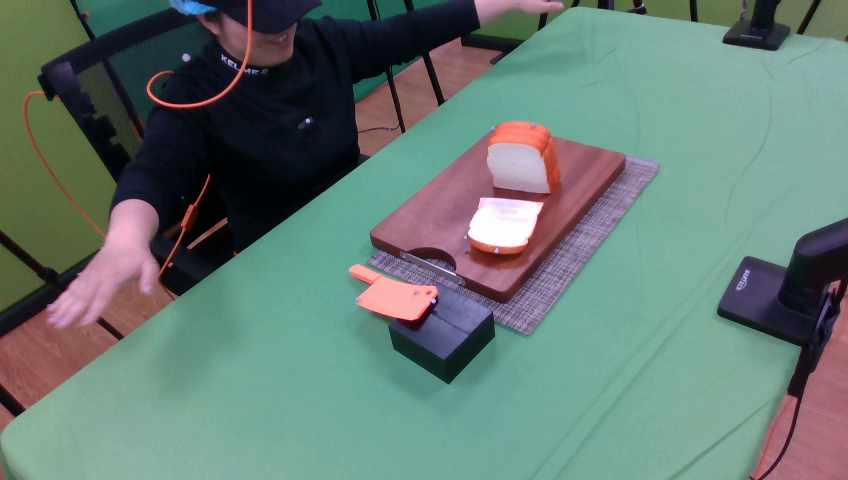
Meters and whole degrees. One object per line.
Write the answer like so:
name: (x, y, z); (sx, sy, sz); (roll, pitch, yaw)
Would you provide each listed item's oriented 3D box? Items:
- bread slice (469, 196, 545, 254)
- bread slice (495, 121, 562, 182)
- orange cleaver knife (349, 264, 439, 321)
bread slice: (0.124, -0.024, 0.943); (0.104, 0.019, 0.131); (8, 39, 18)
bread slice: (0.170, -0.143, 0.997); (0.106, 0.135, 0.018); (10, 61, 21)
orange cleaver knife: (-0.061, 0.073, 0.877); (0.077, 0.012, 0.209); (-39, 32, -27)
